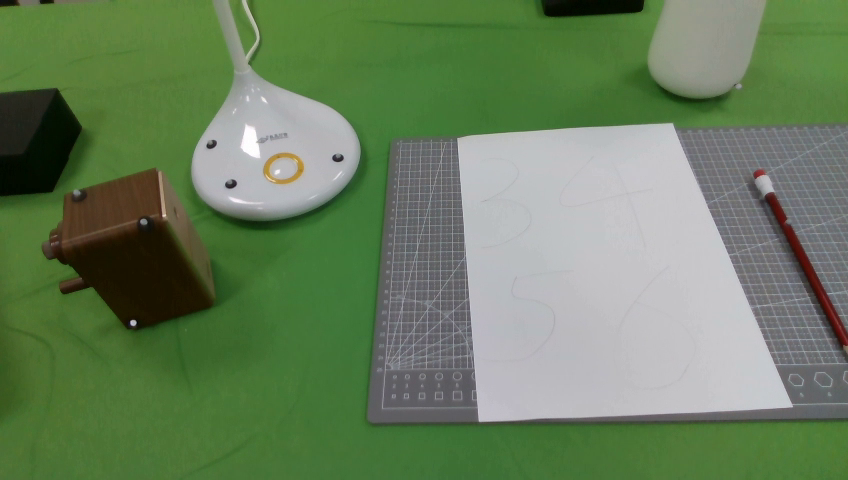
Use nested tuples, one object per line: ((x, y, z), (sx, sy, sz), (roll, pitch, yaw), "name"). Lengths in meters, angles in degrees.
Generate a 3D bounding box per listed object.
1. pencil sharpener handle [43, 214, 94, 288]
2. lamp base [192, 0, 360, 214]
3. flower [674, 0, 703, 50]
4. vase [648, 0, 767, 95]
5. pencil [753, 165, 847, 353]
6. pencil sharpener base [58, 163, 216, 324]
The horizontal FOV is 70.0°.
((-0.263, 0.013, 0.443), (0.031, 0.068, 0.035), (-18, 56, -9), "pencil sharpener handle")
((-0.153, -0.142, 0.531), (0.161, 0.182, 0.177), (-26, 51, -16), "lamp base")
((0.263, -0.274, 0.490), (0.044, 0.364, 0.038), (41, 77, 17), "flower")
((0.275, -0.238, 0.567), (0.098, 0.202, 0.097), (-3, 49, 4), "vase")
((0.299, 0.011, 0.479), (0.012, 0.012, 0.192), (-4, 52, 2), "pencil")
((-0.214, 0.006, 0.460), (0.077, 0.108, 0.060), (-18, 52, -10), "pencil sharpener base")
